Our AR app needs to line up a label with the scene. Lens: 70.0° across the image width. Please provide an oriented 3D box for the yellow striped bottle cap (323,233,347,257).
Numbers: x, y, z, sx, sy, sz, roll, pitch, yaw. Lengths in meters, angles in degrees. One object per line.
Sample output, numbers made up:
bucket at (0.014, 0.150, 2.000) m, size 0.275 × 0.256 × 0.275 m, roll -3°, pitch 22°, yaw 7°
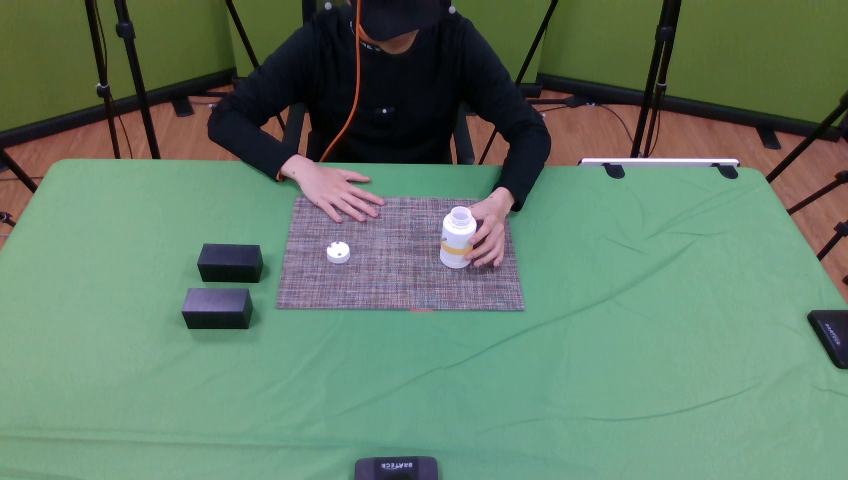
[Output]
yellow striped bottle cap at (-0.168, 0.010, 1.143) m, size 0.044 × 0.019 × 0.044 m, roll 3°, pitch 55°, yaw -5°

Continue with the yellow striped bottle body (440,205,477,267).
yellow striped bottle body at (0.064, -0.010, 1.136) m, size 0.063 × 0.121 × 0.062 m, roll 2°, pitch 46°, yaw -2°
